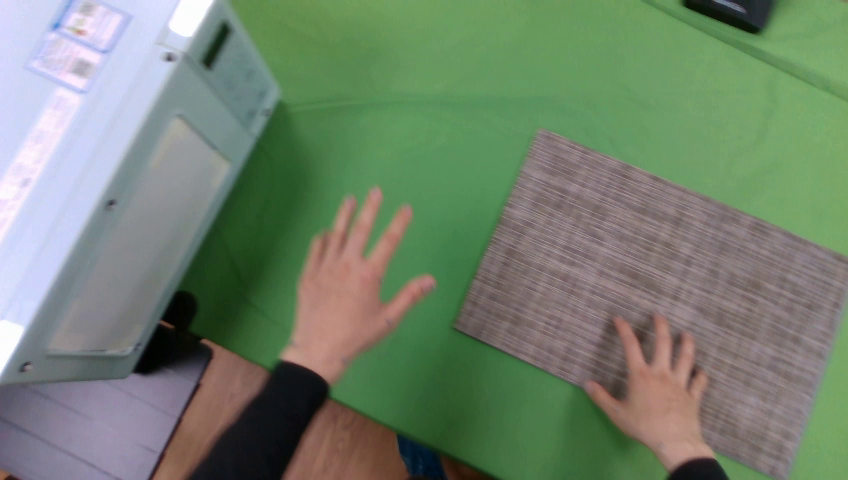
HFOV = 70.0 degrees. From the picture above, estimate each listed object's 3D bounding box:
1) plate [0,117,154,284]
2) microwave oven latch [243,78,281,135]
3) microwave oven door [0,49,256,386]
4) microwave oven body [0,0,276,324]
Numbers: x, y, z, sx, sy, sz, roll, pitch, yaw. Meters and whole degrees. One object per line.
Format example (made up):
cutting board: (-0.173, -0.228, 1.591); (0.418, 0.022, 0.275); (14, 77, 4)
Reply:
plate: (-0.437, -0.049, 0.756); (0.209, 0.038, 0.208); (0, 82, -1)
microwave oven latch: (-0.222, -0.183, 0.816); (0.030, 0.029, 0.079); (27, 82, 5)
microwave oven door: (-0.321, -0.009, 0.684); (0.039, 0.244, 0.355); (24, 81, 6)
microwave oven body: (-0.434, -0.106, 0.707); (0.325, 0.261, 0.440); (25, 82, 5)
